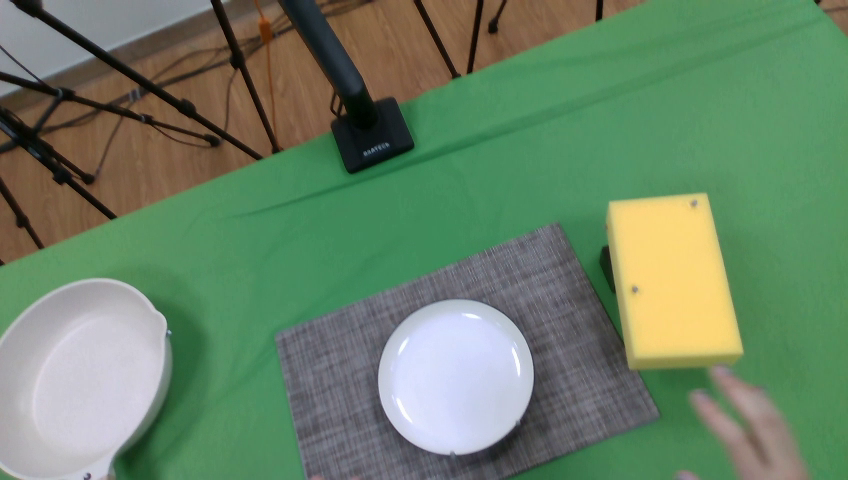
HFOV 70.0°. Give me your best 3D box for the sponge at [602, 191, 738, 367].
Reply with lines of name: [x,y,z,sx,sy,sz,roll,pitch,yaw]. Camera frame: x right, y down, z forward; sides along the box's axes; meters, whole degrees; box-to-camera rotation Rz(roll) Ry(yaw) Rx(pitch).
sponge: [0.294,0.047,0.744,0.118,0.061,0.205,-6,64,9]

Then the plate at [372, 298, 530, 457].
plate: [0.036,0.180,0.800,0.207,0.039,0.206,-4,65,9]

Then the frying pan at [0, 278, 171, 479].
frying pan: [-0.455,0.273,0.823,0.307,0.104,0.482,-29,55,-2]
